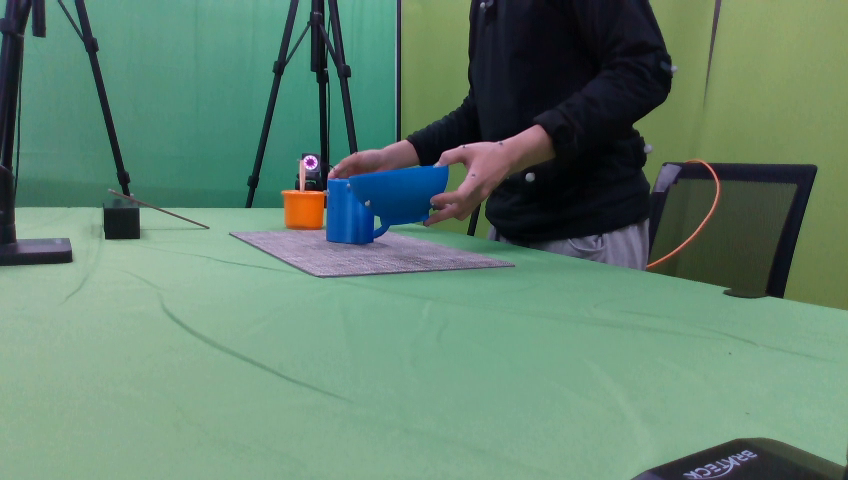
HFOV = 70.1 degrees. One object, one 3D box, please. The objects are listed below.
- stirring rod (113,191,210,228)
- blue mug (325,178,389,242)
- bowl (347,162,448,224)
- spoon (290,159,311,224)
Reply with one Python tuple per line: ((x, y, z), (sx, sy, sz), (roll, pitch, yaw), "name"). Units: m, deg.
((-0.484, -0.055, 1.121), (0.177, 0.006, 0.014), (22, -6, -22), "stirring rod")
((-0.111, -0.052, 1.034), (0.116, 0.106, 0.082), (3, 7, 7), "blue mug")
((-0.035, -0.068, 0.897), (0.151, 0.077, 0.151), (-7, 8, 1), "bowl")
((-0.256, -0.104, 1.265), (0.042, 0.193, 0.021), (2, -37, -11), "spoon")
